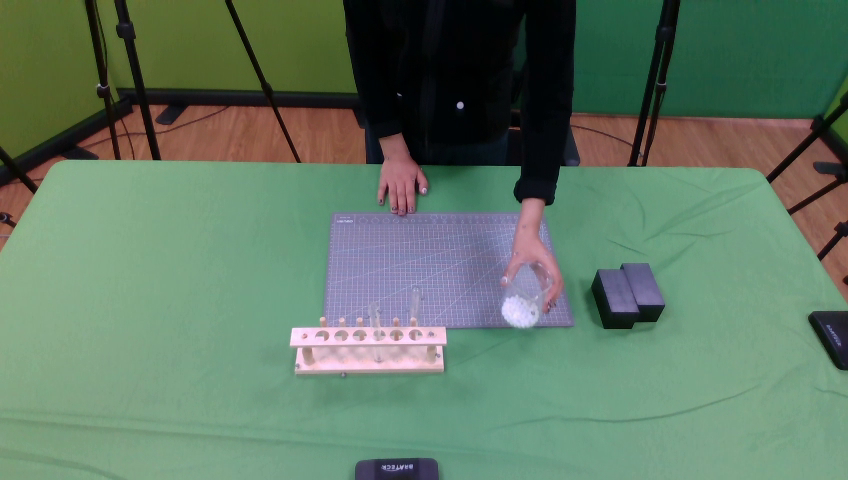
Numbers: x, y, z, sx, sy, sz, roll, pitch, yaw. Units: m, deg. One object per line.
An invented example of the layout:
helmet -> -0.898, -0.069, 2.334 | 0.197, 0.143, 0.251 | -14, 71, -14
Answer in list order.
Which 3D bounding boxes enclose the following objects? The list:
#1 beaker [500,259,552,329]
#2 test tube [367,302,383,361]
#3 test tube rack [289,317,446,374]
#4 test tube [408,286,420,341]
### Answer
beaker -> 0.168, 0.095, 1.010 | 0.074, 0.101, 0.083 | 1, 44, -3
test tube -> -0.075, 0.145, 0.941 | 0.017, 0.151, 0.017 | 0, 49, 0
test tube rack -> -0.089, 0.167, 0.988 | 0.242, 0.085, 0.066 | 0, 46, -4
test tube -> -0.017, 0.123, 0.974 | 0.017, 0.151, 0.017 | 2, 48, -2
